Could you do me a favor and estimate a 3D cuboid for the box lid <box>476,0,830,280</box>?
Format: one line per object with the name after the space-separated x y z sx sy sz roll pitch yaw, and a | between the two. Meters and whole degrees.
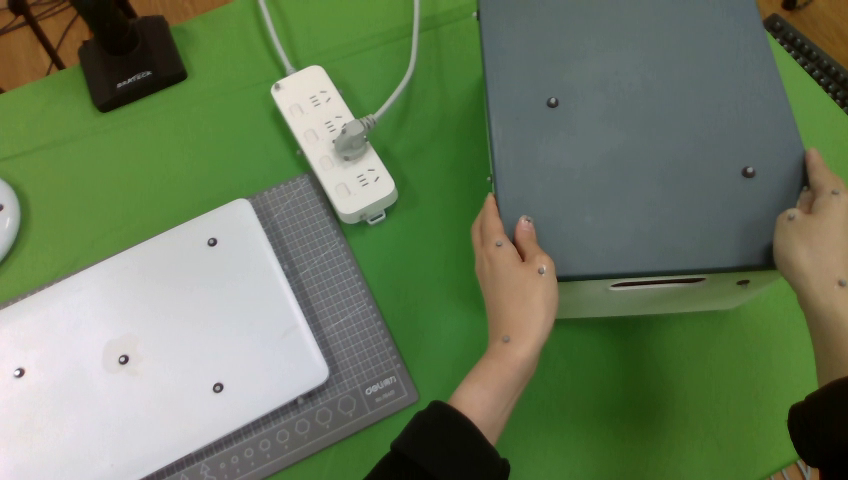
0.186 -0.145 0.548 0.263 0.015 0.368 -4 68 2 | box lid

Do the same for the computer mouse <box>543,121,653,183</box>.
0.188 -0.095 0.656 0.117 0.041 0.062 0 73 8 | computer mouse

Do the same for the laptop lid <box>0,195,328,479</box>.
-0.300 0.119 0.613 0.357 0.013 0.240 -26 70 -7 | laptop lid

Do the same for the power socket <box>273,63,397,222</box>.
-0.107 -0.119 0.710 0.072 0.033 0.225 -27 67 -10 | power socket

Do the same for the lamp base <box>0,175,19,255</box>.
-0.565 -0.051 0.630 0.178 0.182 0.160 20 69 15 | lamp base

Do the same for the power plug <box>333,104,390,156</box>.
-0.067 -0.116 0.681 0.072 0.053 0.035 -17 65 -5 | power plug

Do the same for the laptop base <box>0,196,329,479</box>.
-0.300 0.121 0.625 0.354 0.023 0.234 -27 71 -8 | laptop base

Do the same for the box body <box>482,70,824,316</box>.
0.191 -0.113 0.616 0.254 0.161 0.361 -4 66 2 | box body
